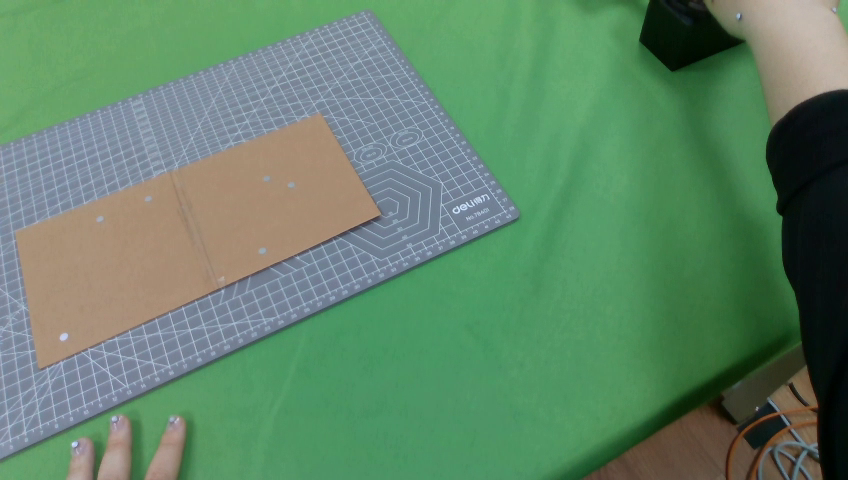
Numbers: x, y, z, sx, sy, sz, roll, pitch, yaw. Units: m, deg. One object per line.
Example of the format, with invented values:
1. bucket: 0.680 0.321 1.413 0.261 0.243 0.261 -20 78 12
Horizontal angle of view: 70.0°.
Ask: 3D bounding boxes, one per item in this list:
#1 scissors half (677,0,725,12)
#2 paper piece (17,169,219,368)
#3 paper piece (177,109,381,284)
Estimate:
1. scissors half: 0.216 -0.262 0.552 0.040 0.013 0.173 -14 57 -6
2. paper piece: -0.242 0.013 0.474 0.138 0.009 0.134 -25 56 -10
3. paper piece: -0.123 -0.043 0.499 0.135 0.004 0.134 -25 58 -10
